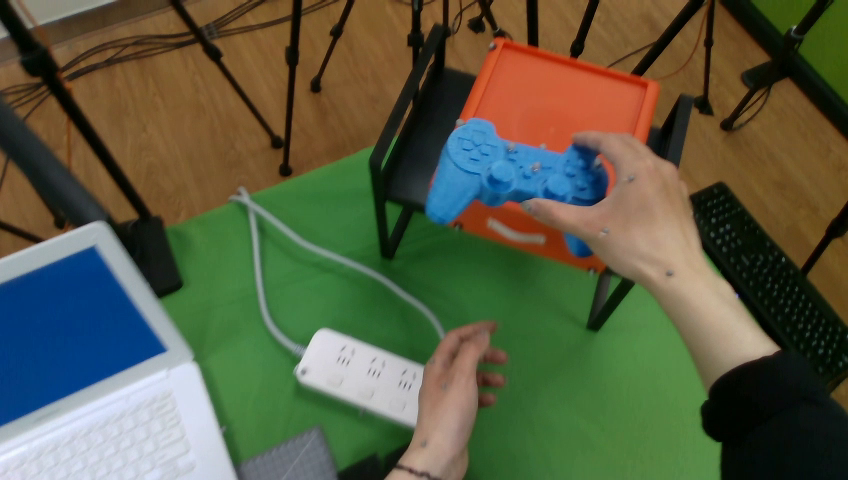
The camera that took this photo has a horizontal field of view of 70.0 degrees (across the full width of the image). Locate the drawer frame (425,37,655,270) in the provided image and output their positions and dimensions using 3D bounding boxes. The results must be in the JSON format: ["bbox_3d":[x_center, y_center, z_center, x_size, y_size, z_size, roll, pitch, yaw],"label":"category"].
[{"bbox_3d":[0.129,-0.101,0.673,0.201,0.083,0.212,18,65,8],"label":"drawer frame"}]

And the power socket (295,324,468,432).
[{"bbox_3d":[-0.053,0.173,0.765,0.226,0.033,0.072,19,65,8],"label":"power socket"}]

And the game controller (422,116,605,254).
[{"bbox_3d":[0.082,-0.052,0.517,0.155,0.052,0.096,14,61,-7],"label":"game controller"}]

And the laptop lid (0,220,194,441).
[{"bbox_3d":[-0.470,0.131,0.668,0.357,0.244,0.013,-26,43,-12],"label":"laptop lid"}]

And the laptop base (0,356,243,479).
[{"bbox_3d":[-0.395,0.310,0.701,0.354,0.023,0.233,-25,70,-13],"label":"laptop base"}]

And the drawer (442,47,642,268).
[{"bbox_3d":[0.129,-0.096,0.672,0.194,0.074,0.210,18,64,8],"label":"drawer"}]

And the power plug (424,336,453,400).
[{"bbox_3d":[0.027,0.162,0.746,0.035,0.053,0.072,29,66,13],"label":"power plug"}]
